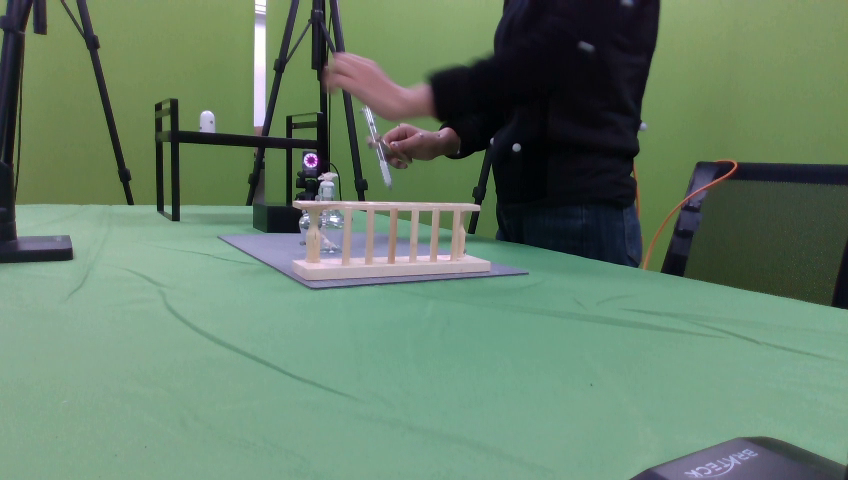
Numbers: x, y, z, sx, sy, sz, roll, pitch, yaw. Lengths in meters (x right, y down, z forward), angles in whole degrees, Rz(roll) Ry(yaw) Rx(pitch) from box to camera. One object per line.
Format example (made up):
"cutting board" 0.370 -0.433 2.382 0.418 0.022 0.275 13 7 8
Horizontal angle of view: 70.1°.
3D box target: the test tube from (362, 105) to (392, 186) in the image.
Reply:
"test tube" -0.081 -0.164 1.046 0.017 0.150 0.017 -16 -10 -3

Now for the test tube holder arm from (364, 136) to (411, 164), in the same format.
"test tube holder arm" -0.063 -0.164 1.112 0.013 0.015 0.179 -16 -10 19

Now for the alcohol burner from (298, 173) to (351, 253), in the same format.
"alcohol burner" -0.146 -0.040 0.894 0.078 0.119 0.078 5 7 0

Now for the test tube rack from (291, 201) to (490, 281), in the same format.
"test tube rack" -0.035 -0.002 0.745 0.243 0.085 0.066 -1 8 -28

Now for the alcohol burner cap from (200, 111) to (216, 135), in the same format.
"alcohol burner cap" -0.448 -0.243 1.254 0.034 0.048 0.034 2 7 0

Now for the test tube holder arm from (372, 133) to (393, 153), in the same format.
"test tube holder arm" -0.073 -0.169 1.068 0.010 0.015 0.088 -15 -10 12
